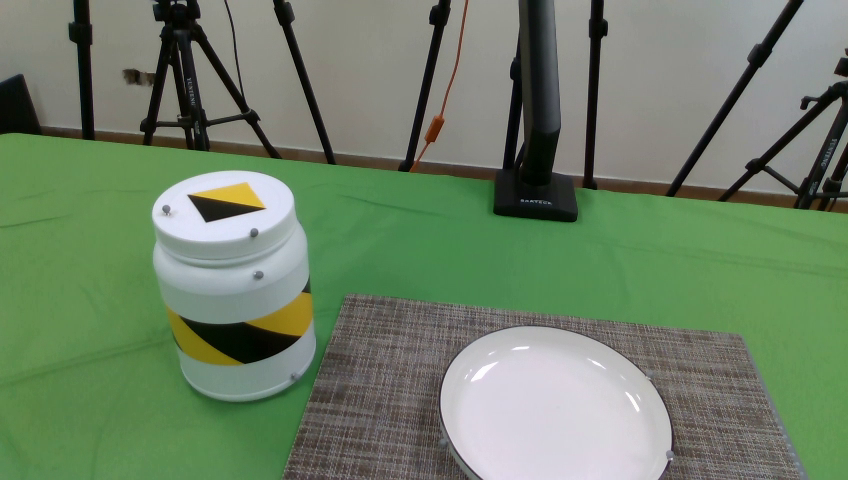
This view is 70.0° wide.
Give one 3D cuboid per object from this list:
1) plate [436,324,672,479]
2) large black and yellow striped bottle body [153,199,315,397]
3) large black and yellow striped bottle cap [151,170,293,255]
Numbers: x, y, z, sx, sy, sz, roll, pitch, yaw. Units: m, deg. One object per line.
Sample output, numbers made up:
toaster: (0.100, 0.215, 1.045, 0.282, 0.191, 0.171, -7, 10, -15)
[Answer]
plate: (0.114, 0.160, 0.549, 0.208, 0.039, 0.205, 3, 36, -2)
large black and yellow striped bottle body: (-0.174, 0.042, 0.569, 0.131, 0.185, 0.129, 2, 36, -1)
large black and yellow striped bottle cap: (-0.171, -0.027, 0.519, 0.115, 0.019, 0.114, 4, 35, -2)
